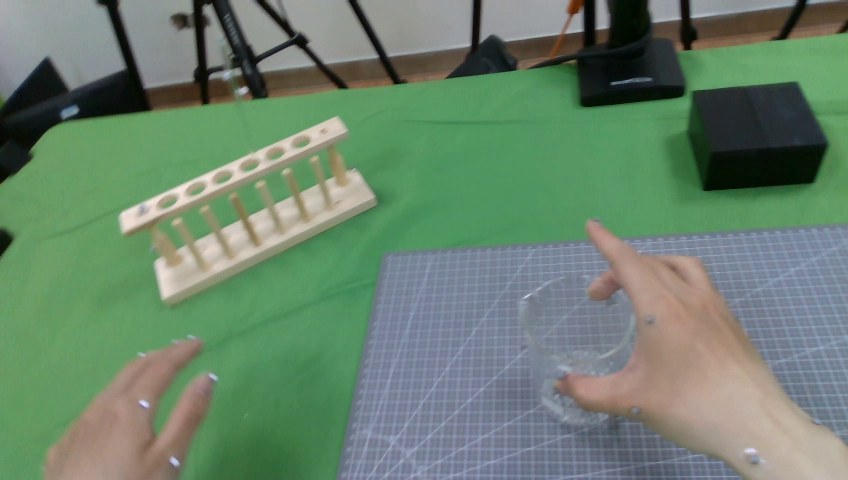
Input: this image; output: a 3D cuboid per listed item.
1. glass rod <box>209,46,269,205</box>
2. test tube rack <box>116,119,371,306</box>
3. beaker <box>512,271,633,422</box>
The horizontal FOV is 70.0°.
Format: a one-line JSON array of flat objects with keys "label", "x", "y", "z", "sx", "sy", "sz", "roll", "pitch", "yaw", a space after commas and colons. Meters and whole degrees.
[{"label": "glass rod", "x": -0.184, "y": -0.100, "z": 0.619, "sx": 0.008, "sy": 0.201, "sz": 0.008, "roll": -5, "pitch": 39, "yaw": 4}, {"label": "test tube rack", "x": -0.186, "y": -0.032, "z": 0.648, "sx": 0.242, "sy": 0.086, "sz": 0.066, "roll": -27, "pitch": 47, "yaw": -11}, {"label": "beaker", "x": 0.108, "y": 0.082, "z": 0.446, "sx": 0.083, "sy": 0.101, "sz": 0.073, "roll": 15, "pitch": 53, "yaw": 28}]
